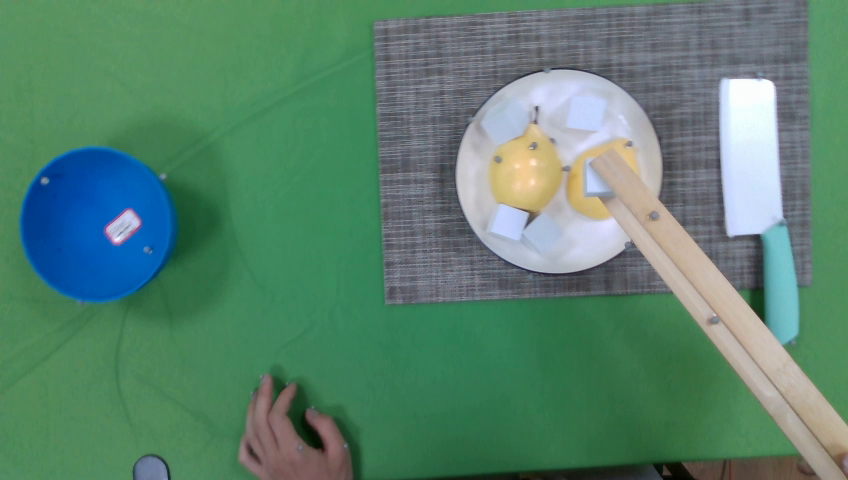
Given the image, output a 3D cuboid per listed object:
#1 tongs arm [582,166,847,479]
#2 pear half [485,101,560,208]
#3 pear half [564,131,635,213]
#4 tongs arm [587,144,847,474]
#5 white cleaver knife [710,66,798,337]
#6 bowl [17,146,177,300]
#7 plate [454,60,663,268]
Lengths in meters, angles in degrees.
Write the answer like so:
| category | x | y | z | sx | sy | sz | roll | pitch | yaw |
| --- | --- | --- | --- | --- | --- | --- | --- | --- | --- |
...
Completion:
| category | x | y | z | sx | sy | sz | roll | pitch | yaw |
| --- | --- | --- | --- | --- | --- | --- | --- | --- | --- |
| tongs arm | 0.261 | 0.082 | 0.499 | 0.026 | 0.051 | 0.383 | -36 | 83 | 1 |
| pear half | 0.102 | -0.090 | 0.608 | 0.076 | 0.056 | 0.109 | 6 | 89 | -2 |
| pear half | 0.183 | -0.070 | 0.615 | 0.070 | 0.031 | 0.088 | 28 | 99 | -3 |
| tongs arm | 0.257 | 0.078 | 0.475 | 0.028 | 0.028 | 0.385 | -36 | 79 | -3 |
| white cleaver knife | 0.341 | -0.039 | 0.631 | 0.066 | 0.021 | 0.286 | -7 | 89 | 13 |
| bowl | -0.317 | -0.017 | 0.621 | 0.151 | 0.077 | 0.151 | 0 | 93 | 1 |
| plate | 0.135 | -0.076 | 0.622 | 0.207 | 0.039 | 0.207 | 0 | 93 | 2 |
